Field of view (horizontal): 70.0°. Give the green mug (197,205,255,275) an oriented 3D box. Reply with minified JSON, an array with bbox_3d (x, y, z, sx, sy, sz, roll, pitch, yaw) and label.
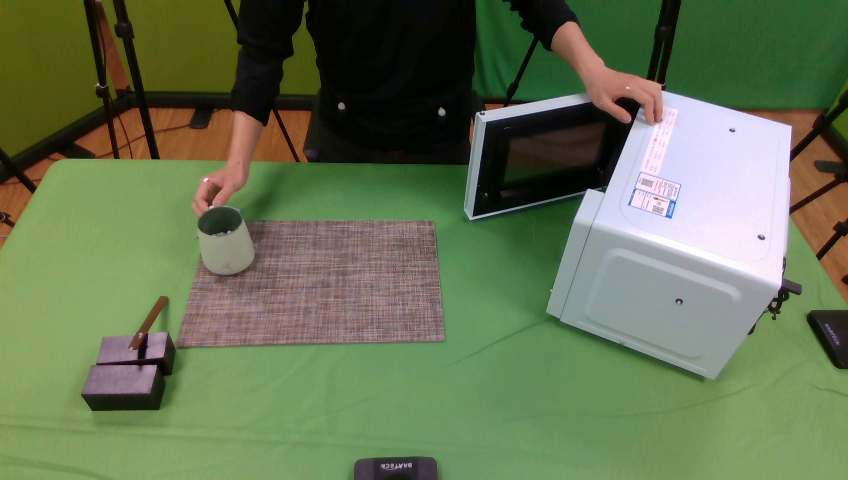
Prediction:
[{"bbox_3d":[-0.370,-0.008,1.114,0.092,0.105,0.124,-19,50,-21],"label":"green mug"}]

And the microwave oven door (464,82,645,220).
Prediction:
[{"bbox_3d":[0.258,-0.176,1.209,0.356,0.245,0.039,-14,48,-16],"label":"microwave oven door"}]

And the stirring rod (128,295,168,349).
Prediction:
[{"bbox_3d":[-0.451,0.131,0.996,0.014,0.006,0.175,9,20,-10],"label":"stirring rod"}]

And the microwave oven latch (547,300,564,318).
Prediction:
[{"bbox_3d":[0.242,0.102,1.081,0.030,0.029,0.079,21,48,17],"label":"microwave oven latch"}]

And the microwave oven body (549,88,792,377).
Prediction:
[{"bbox_3d":[0.456,-0.028,1.088,0.325,0.261,0.440,20,47,16],"label":"microwave oven body"}]
